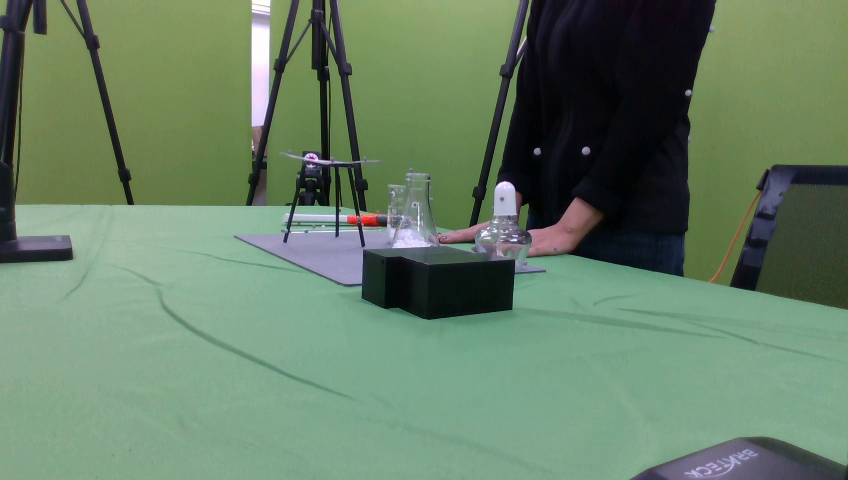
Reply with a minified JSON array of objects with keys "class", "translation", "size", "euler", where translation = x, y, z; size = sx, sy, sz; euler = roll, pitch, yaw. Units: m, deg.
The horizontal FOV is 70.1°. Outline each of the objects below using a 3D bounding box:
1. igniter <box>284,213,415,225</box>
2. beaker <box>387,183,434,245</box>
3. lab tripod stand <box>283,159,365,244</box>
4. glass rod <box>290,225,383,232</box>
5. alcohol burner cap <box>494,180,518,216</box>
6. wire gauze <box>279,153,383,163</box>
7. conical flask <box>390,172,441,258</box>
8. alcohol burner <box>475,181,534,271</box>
[{"class":"igniter","translation":[-0.154,-0.045,1.282],"size":[0.278,0.025,0.057],"euler":[0,-2,-20]},{"class":"beaker","translation":[-0.027,-0.044,1.012],"size":[0.074,0.100,0.083],"euler":[-2,8,-34]},{"class":"lab tripod stand","translation":[-0.151,-0.063,0.983],"size":[0.148,0.131,0.148],"euler":[4,7,0]},{"class":"glass rod","translation":[-0.166,-0.023,1.174],"size":[0.201,0.008,0.008],"euler":[-3,9,-35]},{"class":"alcohol burner cap","translation":[0.108,-0.055,0.799],"size":[0.034,0.048,0.034],"euler":[-2,4,0]},{"class":"wire gauze","translation":[-0.149,-0.129,0.974],"size":[0.124,0.011,0.122],"euler":[10,9,41]},{"class":"conical flask","translation":[-0.010,-0.037,0.872],"size":[0.075,0.122,0.075],"euler":[2,7,0]},{"class":"alcohol burner","translation":[0.108,-0.020,0.804],"size":[0.078,0.119,0.078],"euler":[3,5,0]}]
